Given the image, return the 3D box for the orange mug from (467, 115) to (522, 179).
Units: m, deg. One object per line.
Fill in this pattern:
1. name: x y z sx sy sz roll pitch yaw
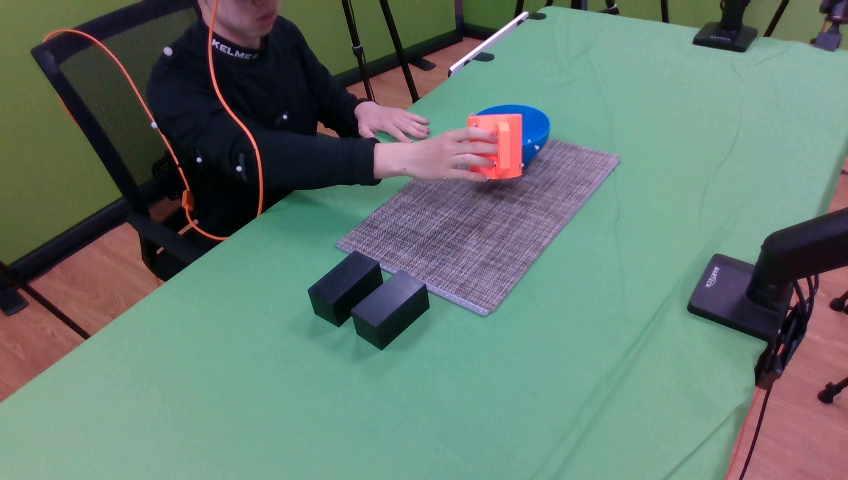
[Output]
1. orange mug: 0.114 -0.147 0.945 0.083 0.101 0.126 -3 8 -5

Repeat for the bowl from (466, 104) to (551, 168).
1. bowl: 0.155 -0.177 1.105 0.151 0.077 0.150 -4 40 3
